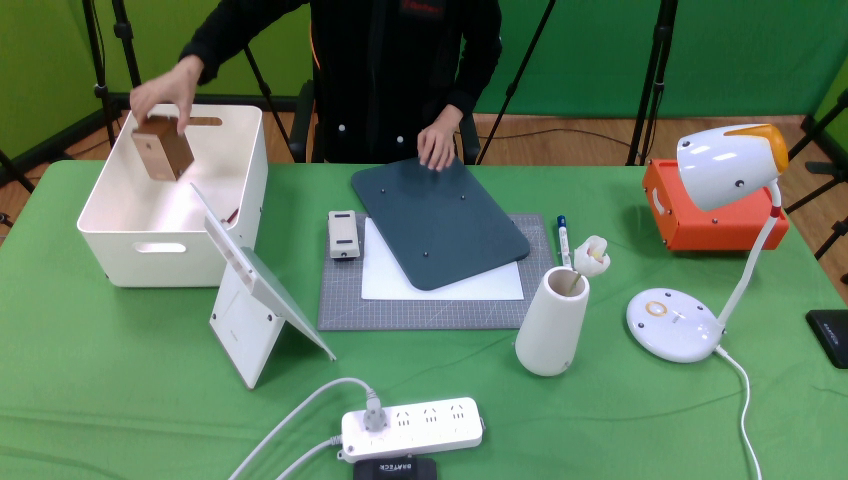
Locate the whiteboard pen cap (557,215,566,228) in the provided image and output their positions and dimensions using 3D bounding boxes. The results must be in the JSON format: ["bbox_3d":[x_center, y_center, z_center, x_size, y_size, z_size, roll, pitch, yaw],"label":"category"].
[{"bbox_3d":[0.284,-0.034,1.246,0.018,0.018,0.033,4,52,-1],"label":"whiteboard pen cap"}]

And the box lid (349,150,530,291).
[{"bbox_3d":[0.025,-0.056,1.260,0.263,0.015,0.369,-18,49,-20],"label":"box lid"}]

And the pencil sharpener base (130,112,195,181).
[{"bbox_3d":[-0.481,-0.174,1.126,0.061,0.107,0.076,6,44,11],"label":"pencil sharpener base"}]

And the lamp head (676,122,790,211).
[{"bbox_3d":[0.423,-0.104,0.819,0.122,0.113,0.112,-13,33,40],"label":"lamp head"}]

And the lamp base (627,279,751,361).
[{"bbox_3d":[0.459,0.100,1.027,0.178,0.181,0.160,27,51,17],"label":"lamp base"}]

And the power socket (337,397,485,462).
[{"bbox_3d":[-0.018,0.285,0.915,0.227,0.033,0.071,-5,46,-8],"label":"power socket"}]

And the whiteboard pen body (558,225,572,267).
[{"bbox_3d":[0.280,0.010,1.207,0.017,0.017,0.140,3,50,-1],"label":"whiteboard pen body"}]

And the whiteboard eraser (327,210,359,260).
[{"bbox_3d":[-0.158,-0.009,1.177,0.055,0.042,0.112,-6,47,-7],"label":"whiteboard eraser"}]

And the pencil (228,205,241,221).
[{"bbox_3d":[-0.402,-0.009,1.176,0.012,0.012,0.193,14,45,9],"label":"pencil"}]

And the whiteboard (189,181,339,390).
[{"bbox_3d":[-0.292,0.096,0.929,0.144,0.307,0.216,-37,57,-10],"label":"whiteboard"}]

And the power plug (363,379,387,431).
[{"bbox_3d":[-0.072,0.252,0.910,0.035,0.053,0.072,3,45,-1],"label":"power plug"}]

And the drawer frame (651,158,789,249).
[{"bbox_3d":[0.571,-0.075,1.214,0.214,0.083,0.200,0,46,-1],"label":"drawer frame"}]

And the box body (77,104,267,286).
[{"bbox_3d":[-0.446,-0.088,1.150,0.254,0.161,0.361,-1,46,-5],"label":"box body"}]

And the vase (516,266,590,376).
[{"bbox_3d":[0.208,0.132,0.964,0.098,0.201,0.097,3,46,-3],"label":"vase"}]

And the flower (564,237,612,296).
[{"bbox_3d":[0.206,0.088,0.893,0.038,0.363,0.044,-17,67,-9],"label":"flower"}]

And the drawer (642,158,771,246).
[{"bbox_3d":[0.565,-0.076,1.211,0.212,0.073,0.193,2,45,-2],"label":"drawer"}]

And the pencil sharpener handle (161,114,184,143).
[{"bbox_3d":[-0.474,-0.218,1.153,0.036,0.068,0.030,13,45,4],"label":"pencil sharpener handle"}]
